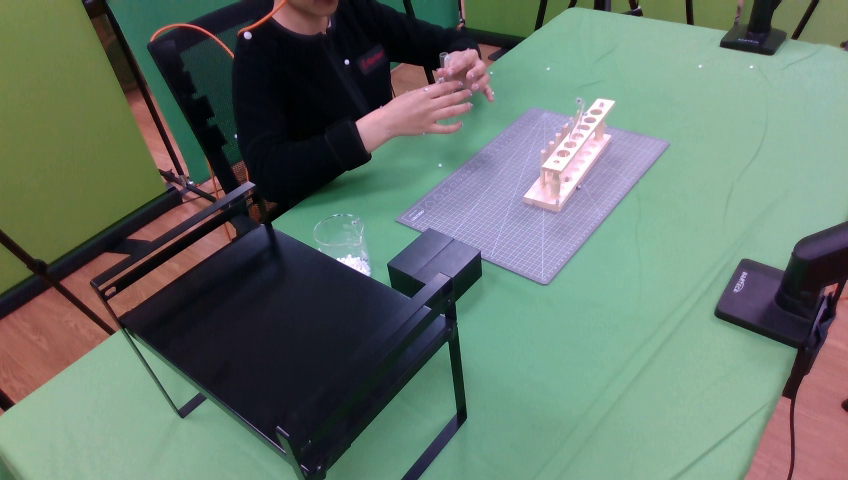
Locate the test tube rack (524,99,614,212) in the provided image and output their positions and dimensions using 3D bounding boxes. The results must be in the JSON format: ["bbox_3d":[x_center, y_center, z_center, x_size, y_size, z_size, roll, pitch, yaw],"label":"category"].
[{"bbox_3d":[0.259,-0.158,1.069,0.066,0.085,0.243,19,47,28],"label":"test tube rack"}]

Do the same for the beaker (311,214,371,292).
[{"bbox_3d":[-0.118,0.022,0.908,0.083,0.101,0.074,26,51,32],"label":"beaker"}]

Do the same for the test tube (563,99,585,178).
[{"bbox_3d":[0.247,-0.164,1.000,0.017,0.151,0.017,-1,42,1],"label":"test tube"}]

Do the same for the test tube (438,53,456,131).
[{"bbox_3d":[0.043,-0.265,1.095,0.017,0.151,0.017,-6,40,6],"label":"test tube"}]
